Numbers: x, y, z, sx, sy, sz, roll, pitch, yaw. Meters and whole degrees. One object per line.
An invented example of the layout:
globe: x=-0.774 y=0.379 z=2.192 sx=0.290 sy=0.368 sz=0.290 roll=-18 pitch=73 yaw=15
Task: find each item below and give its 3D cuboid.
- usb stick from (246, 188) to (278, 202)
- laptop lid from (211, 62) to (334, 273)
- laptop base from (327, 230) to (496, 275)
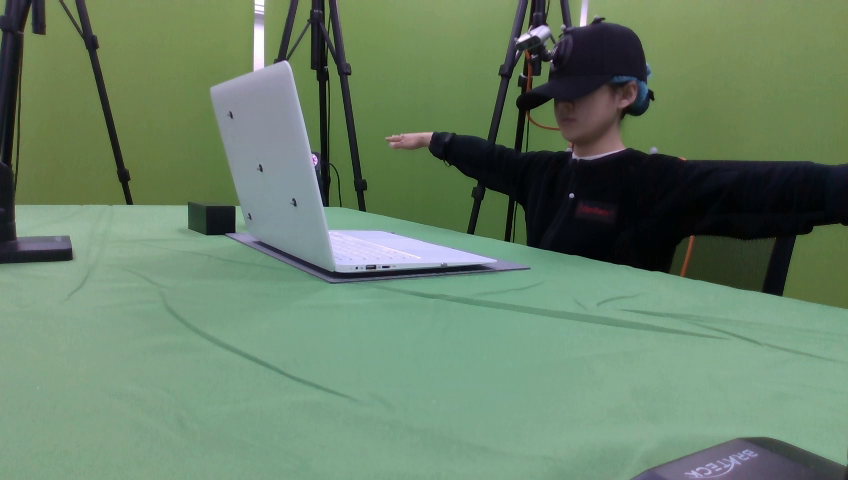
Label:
usb stick: x=-0.314 y=-0.086 z=1.166 sx=0.059 sy=0.027 sz=0.021 roll=-4 pitch=12 yaw=-32
laptop lid: x=-0.211 y=-0.095 z=0.791 sx=0.013 sy=0.241 sz=0.355 roll=-18 pitch=18 yaw=-29
laptop base: x=-0.091 y=0.016 z=0.884 sx=0.237 sy=0.023 sz=0.352 roll=2 pitch=6 yaw=-32
